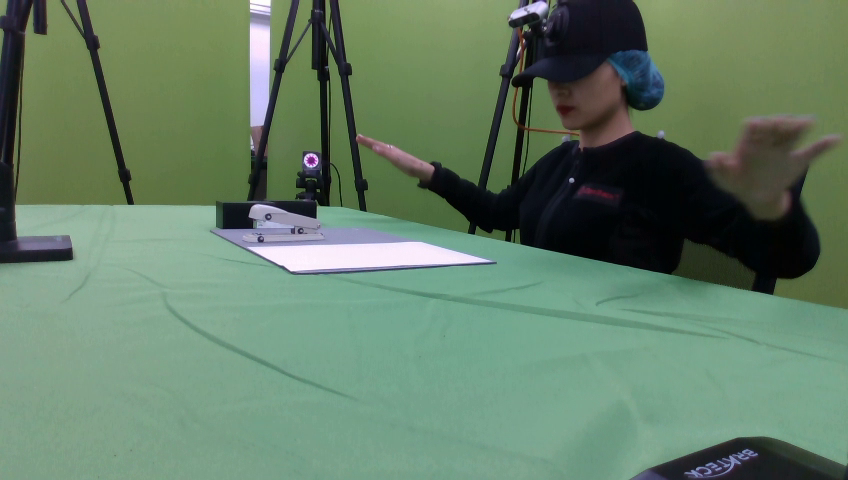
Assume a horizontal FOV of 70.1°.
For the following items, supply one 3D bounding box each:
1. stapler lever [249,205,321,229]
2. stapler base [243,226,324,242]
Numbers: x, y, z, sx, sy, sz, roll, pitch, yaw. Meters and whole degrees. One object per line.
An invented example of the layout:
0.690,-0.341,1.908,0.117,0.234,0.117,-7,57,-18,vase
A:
-0.228,-0.037,0.994,0.119,0.040,0.026,-1,10,-36,stapler lever
-0.230,-0.012,0.996,0.131,0.024,0.041,-1,10,-36,stapler base
